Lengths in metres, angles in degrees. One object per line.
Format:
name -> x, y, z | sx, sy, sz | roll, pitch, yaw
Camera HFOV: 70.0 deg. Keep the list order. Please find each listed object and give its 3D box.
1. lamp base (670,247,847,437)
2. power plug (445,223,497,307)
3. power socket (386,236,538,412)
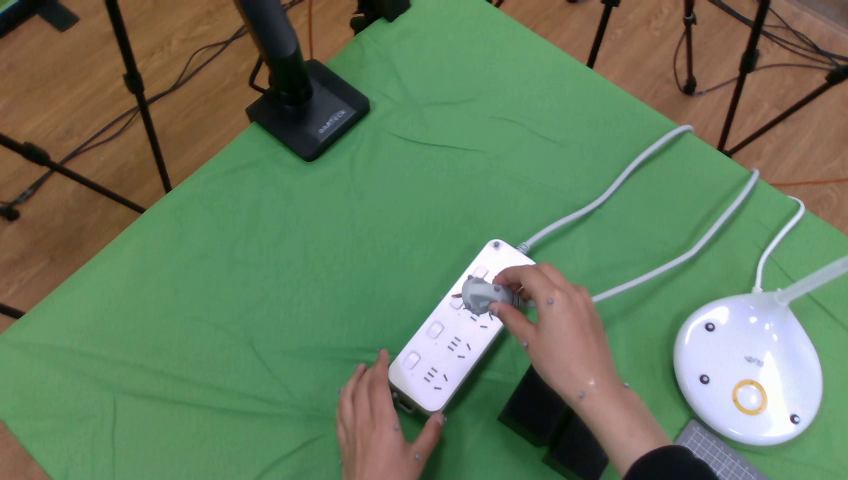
lamp base -> 0.353, 0.091, 0.599 | 0.160, 0.181, 0.178 | 12, 64, 5
power plug -> 0.042, 0.026, 0.564 | 0.052, 0.035, 0.072 | -13, 76, 28
power socket -> 0.045, 0.089, 0.674 | 0.072, 0.033, 0.226 | 35, 70, 12
